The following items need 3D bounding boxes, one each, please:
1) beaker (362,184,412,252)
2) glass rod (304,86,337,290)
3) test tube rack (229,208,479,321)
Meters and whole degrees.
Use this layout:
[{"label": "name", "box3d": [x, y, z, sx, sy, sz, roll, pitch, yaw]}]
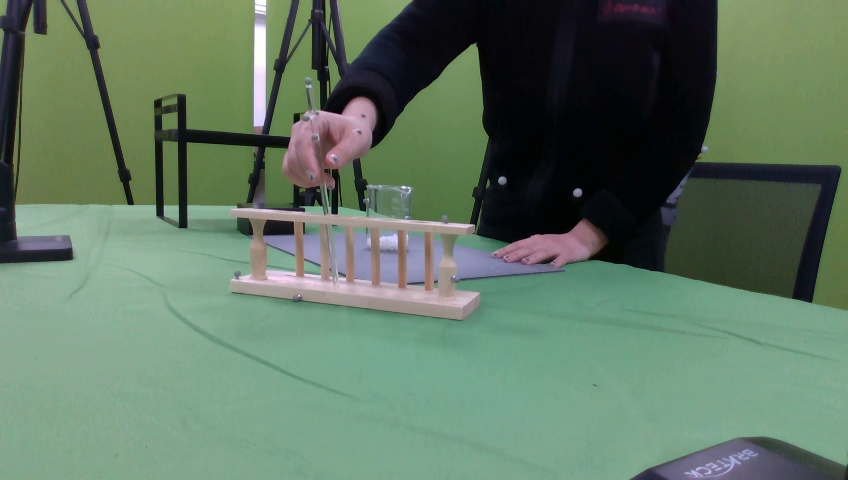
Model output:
[{"label": "beaker", "box3d": [-0.056, -0.034, 0.935, 0.083, 0.100, 0.074, 10, 11, 44]}, {"label": "glass rod", "box3d": [-0.100, -0.047, 0.580, 0.008, 0.199, 0.008, -6, 5, 1]}, {"label": "test tube rack", "box3d": [-0.070, 0.018, 0.597, 0.242, 0.085, 0.067, 5, 7, 18]}]
